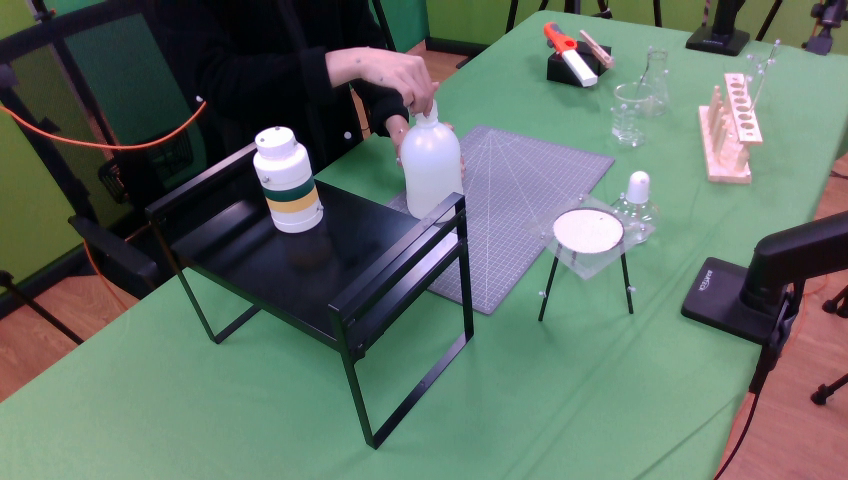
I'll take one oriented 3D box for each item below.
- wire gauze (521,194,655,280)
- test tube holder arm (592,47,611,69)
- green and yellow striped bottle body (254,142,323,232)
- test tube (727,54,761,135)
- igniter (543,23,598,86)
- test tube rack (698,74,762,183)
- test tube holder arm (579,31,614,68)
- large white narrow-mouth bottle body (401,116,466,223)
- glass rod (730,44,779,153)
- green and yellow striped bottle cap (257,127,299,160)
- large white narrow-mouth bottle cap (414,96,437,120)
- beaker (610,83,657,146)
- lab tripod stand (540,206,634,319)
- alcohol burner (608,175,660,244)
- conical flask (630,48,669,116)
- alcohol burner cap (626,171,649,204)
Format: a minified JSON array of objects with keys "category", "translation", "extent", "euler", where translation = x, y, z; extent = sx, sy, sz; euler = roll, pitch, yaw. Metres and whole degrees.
[{"category":"wire gauze","translation":[0.207,-0.012,0.772],"extent":[0.122,0.011,0.124],"euler":[-28,44,-20]},{"category":"test tube holder arm","translation":[0.385,-0.398,1.317],"extent":[0.010,0.015,0.087],"euler":[-11,41,-2]},{"category":"green and yellow striped bottle body","translation":[-0.165,-0.073,0.732],"extent":[0.063,0.120,0.063],"euler":[-4,41,4]},{"category":"test tube","translation":[0.564,-0.254,1.069],"extent":[0.017,0.151,0.017],"euler":[-1,40,1]},{"category":"igniter","translation":[0.320,-0.419,1.345],"extent":[0.057,0.025,0.274],"euler":[-12,44,-3]},{"category":"test tube rack","translation":[0.547,-0.208,1.095],"extent":[0.066,0.085,0.242],"euler":[5,42,15]},{"category":"test tube holder arm","translation":[0.383,-0.428,1.351],"extent":[0.013,0.015,0.177],"euler":[-11,41,-3]},{"category":"large white narrow-mouth bottle body","translation":[0.013,-0.129,0.991],"extent":[0.102,0.195,0.101],"euler":[-5,39,5]},{"category":"glass rod","translation":[0.555,-0.234,1.021],"extent":[0.008,0.200,0.008],"euler":[2,40,-1]},{"category":"green and yellow striped bottle cap","translation":[-0.169,-0.112,0.698],"extent":[0.045,0.020,0.045],"euler":[-5,40,5]},{"category":"large white narrow-mouth bottle cap","translation":[0.002,-0.203,0.932],"extent":[0.038,0.024,0.037],"euler":[-5,39,4]},{"category":"beaker","translation":[0.388,-0.235,1.138],"extent":[0.074,0.101,0.083],"euler":[-31,45,-25]},{"category":"lab tripod stand","translation":[0.218,0.034,0.821],"extent":[0.148,0.132,0.147],"euler":[-4,42,4]},{"category":"alcohol burner","translation":[0.322,-0.053,0.924],"extent":[0.078,0.119,0.077],"euler":[-4,43,4]},{"category":"conical flask","translation":[0.457,-0.317,1.205],"extent":[0.075,0.122,0.075],"euler":[-4,41,4]},{"category":"alcohol burner cap","translation":[0.320,-0.081,0.900],"extent":[0.034,0.048,0.033],"euler":[-4,42,4]}]
